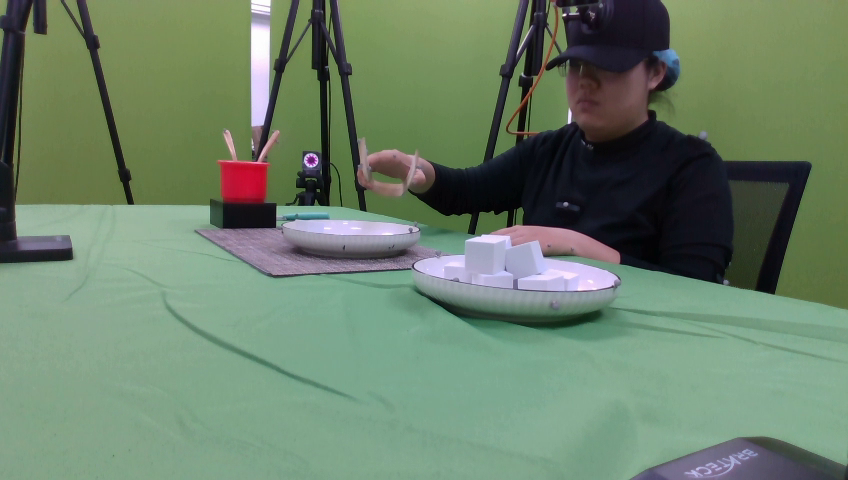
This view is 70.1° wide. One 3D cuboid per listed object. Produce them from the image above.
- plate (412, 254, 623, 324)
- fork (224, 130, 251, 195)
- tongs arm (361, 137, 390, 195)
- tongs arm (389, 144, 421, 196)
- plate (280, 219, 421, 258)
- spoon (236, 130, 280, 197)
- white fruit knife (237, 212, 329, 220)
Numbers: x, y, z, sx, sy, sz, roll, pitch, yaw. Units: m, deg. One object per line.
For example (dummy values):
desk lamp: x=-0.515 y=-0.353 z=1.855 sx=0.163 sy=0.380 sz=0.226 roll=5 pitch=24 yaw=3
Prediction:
plate: x=0.090 y=0.047 z=0.609 sx=0.209 sy=0.038 sz=0.209 roll=2 pitch=7 yaw=0
fork: x=-0.372 y=-0.155 z=1.193 sx=0.028 sy=0.018 sz=0.206 roll=-17 pitch=54 yaw=-13
tongs arm: x=-0.078 y=-0.116 z=1.023 sx=0.051 sy=0.026 sz=0.384 roll=5 pitch=-4 yaw=-5
tongs arm: x=-0.033 y=-0.111 z=1.026 sx=0.028 sy=0.027 sz=0.387 roll=2 pitch=-3 yaw=-7
plate: x=-0.108 y=-0.002 z=0.902 sx=0.208 sy=0.039 sz=0.207 roll=3 pitch=7 yaw=0
spoon: x=-0.321 y=-0.154 z=1.192 sx=0.041 sy=0.193 sz=0.022 roll=0 pitch=-37 yaw=19
white fruit knife: x=-0.304 y=-0.050 z=1.328 sx=0.208 sy=0.016 sz=0.027 roll=-3 pitch=-19 yaw=-29
